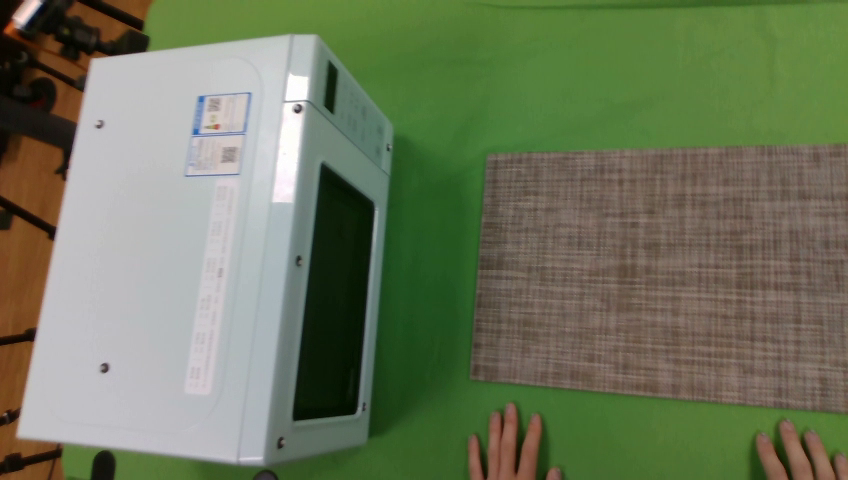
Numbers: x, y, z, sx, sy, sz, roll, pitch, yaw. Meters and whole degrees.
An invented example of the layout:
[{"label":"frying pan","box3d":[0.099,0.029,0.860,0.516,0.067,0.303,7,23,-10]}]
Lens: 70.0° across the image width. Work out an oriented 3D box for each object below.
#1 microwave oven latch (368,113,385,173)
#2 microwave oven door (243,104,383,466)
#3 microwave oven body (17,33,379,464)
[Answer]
[{"label":"microwave oven latch","box3d":[-0.070,-0.132,0.829,0.030,0.030,0.079,0,79,17]},{"label":"microwave oven door","box3d":[-0.113,0.059,0.691,0.039,0.245,0.354,-1,77,18]},{"label":"microwave oven body","box3d":[-0.249,0.021,0.747,0.325,0.262,0.439,-1,78,17]}]
